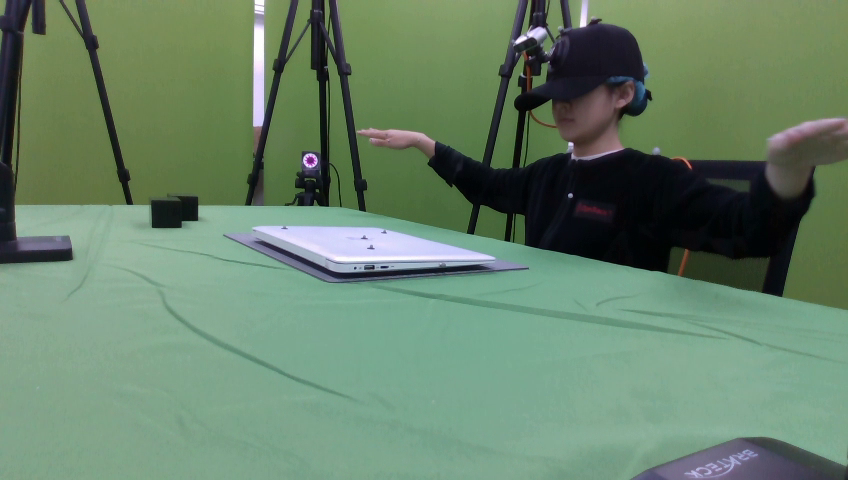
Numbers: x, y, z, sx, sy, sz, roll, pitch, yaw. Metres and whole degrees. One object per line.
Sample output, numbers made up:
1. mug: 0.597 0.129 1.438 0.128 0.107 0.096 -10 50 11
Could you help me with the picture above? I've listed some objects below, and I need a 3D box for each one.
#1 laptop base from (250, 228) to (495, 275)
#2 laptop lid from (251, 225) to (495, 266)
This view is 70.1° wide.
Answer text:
1. laptop base: -0.093 0.015 0.884 0.237 0.023 0.352 3 6 -32
2. laptop lid: -0.090 0.004 0.883 0.243 0.013 0.355 1 7 -31
